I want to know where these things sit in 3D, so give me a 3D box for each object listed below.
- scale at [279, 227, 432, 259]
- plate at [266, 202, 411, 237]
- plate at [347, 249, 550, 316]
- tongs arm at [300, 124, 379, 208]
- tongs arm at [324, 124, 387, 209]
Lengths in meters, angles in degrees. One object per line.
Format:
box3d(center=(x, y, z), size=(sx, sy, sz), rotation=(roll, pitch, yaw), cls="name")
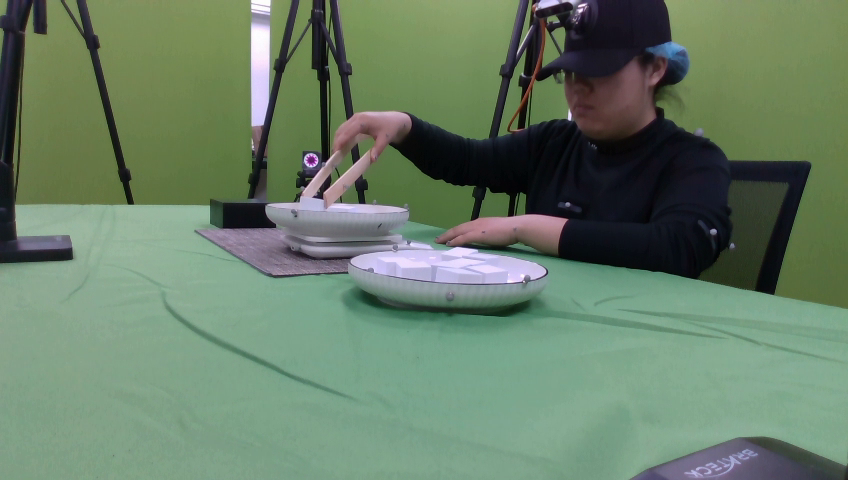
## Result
box3d(center=(-0.100, 0.001, 0.899), size=(0.202, 0.031, 0.148), rotation=(-1, 9, -31), cls="scale")
box3d(center=(-0.123, -0.030, 0.879), size=(0.208, 0.039, 0.207), rotation=(2, 6, 0), cls="plate")
box3d(center=(0.025, 0.042, 0.627), size=(0.209, 0.038, 0.209), rotation=(2, 7, 0), cls="plate")
box3d(center=(-0.133, -0.137, 1.030), size=(0.051, 0.026, 0.384), rotation=(1, 25, 6), cls="tongs arm")
box3d(center=(-0.109, -0.136, 1.026), size=(0.028, 0.028, 0.387), rotation=(-1, 25, 11), cls="tongs arm")
